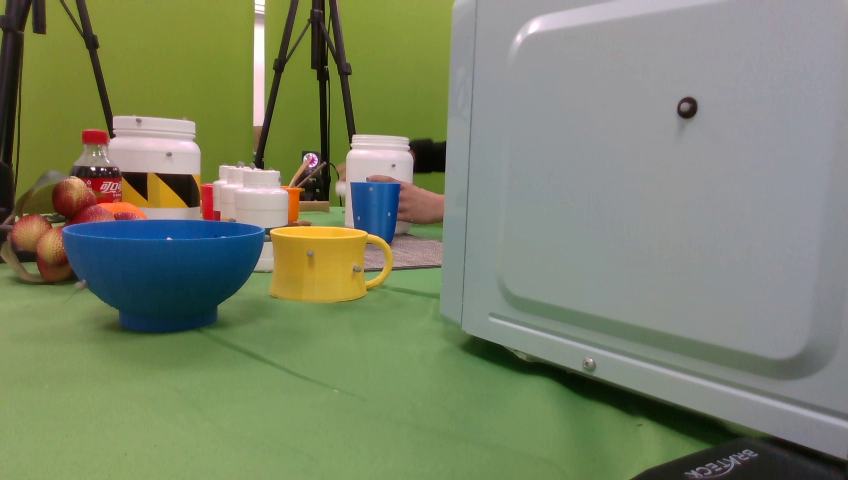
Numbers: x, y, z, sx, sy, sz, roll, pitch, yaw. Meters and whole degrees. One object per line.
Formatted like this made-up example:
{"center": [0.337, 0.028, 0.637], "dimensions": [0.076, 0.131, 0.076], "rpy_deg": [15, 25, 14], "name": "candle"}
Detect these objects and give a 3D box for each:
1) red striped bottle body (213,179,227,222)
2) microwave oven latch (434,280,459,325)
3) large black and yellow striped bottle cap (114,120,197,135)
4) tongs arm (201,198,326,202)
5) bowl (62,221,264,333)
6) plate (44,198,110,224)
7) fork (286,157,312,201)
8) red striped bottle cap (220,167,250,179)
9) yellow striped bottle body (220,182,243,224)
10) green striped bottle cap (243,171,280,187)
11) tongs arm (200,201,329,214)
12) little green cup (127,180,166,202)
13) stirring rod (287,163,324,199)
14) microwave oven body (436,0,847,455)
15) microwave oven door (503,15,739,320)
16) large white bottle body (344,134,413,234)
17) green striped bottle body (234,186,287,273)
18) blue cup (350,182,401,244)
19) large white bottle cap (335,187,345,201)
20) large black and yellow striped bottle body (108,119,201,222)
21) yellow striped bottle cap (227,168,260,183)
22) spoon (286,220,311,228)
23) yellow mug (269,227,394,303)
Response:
{"center": [-0.284, -0.048, 0.910], "dimensions": [0.063, 0.119, 0.063], "rpy_deg": [3, 12, 0], "name": "red striped bottle body"}
{"center": [0.044, 0.045, 0.470], "dimensions": [0.079, 0.029, 0.030], "rpy_deg": [-2, 8, -39], "name": "microwave oven latch"}
{"center": [-0.407, -0.171, 0.920], "dimensions": [0.115, 0.019, 0.115], "rpy_deg": [2, 9, 0], "name": "large black and yellow striped bottle cap"}
{"center": [-0.433, -0.090, 1.508], "dimensions": [0.390, 0.028, 0.028], "rpy_deg": [-1, 2, -29], "name": "tongs arm"}
{"center": [-0.209, 0.029, 0.496], "dimensions": [0.151, 0.077, 0.151], "rpy_deg": [2, 7, 0], "name": "bowl"}
{"center": [-0.617, -0.056, 1.179], "dimensions": [0.209, 0.038, 0.209], "rpy_deg": [3, 7, 0], "name": "plate"}
{"center": [-0.290, -0.116, 1.321], "dimensions": [0.028, 0.018, 0.207], "rpy_deg": [8, 52, 17], "name": "fork"}
{"center": [-0.281, -0.100, 0.901], "dimensions": [0.044, 0.017, 0.044], "rpy_deg": [-1, 5, 0], "name": "red striped bottle cap"}
{"center": [-0.246, -0.036, 0.825], "dimensions": [0.063, 0.120, 0.063], "rpy_deg": [3, 8, 0], "name": "yellow striped bottle body"}
{"center": [-0.198, -0.074, 0.736], "dimensions": [0.044, 0.020, 0.044], "rpy_deg": [1, 7, 0], "name": "green striped bottle cap"}
{"center": [-0.378, -0.079, 1.440], "dimensions": [0.387, 0.026, 0.050], "rpy_deg": [-4, 8, -44], "name": "tongs arm"}
{"center": [-0.485, -0.086, 1.061], "dimensions": [0.061, 0.038, 0.061], "rpy_deg": [1, 7, 0], "name": "little green cup"}
{"center": [-0.278, -0.105, 1.294], "dimensions": [0.176, 0.006, 0.014], "rpy_deg": [-46, 24, -18], "name": "stirring rod"}
{"center": [0.279, -0.040, 0.465], "dimensions": [0.444, 0.260, 0.324], "rpy_deg": [-3, 9, -41], "name": "microwave oven body"}
{"center": [0.218, -0.065, 0.600], "dimensions": [0.358, 0.243, 0.039], "rpy_deg": [-4, 10, -41], "name": "microwave oven door"}
{"center": [-0.087, -0.109, 1.165], "dimensions": [0.131, 0.184, 0.130], "rpy_deg": [2, 8, 0], "name": "large white bottle body"}
{"center": [-0.200, -0.023, 0.743], "dimensions": [0.063, 0.119, 0.063], "rpy_deg": [2, 7, 0], "name": "green striped bottle body"}
{"center": [-0.082, -0.046, 1.009], "dimensions": [0.093, 0.100, 0.092], "rpy_deg": [1, 6, 0], "name": "blue cup"}
{"center": [-0.140, -0.103, 1.340], "dimensions": [0.115, 0.018, 0.114], "rpy_deg": [0, 14, 0], "name": "large white bottle cap"}
{"center": [-0.412, -0.088, 0.930], "dimensions": [0.131, 0.184, 0.130], "rpy_deg": [3, 7, 0], "name": "large black and yellow striped bottle body"}
{"center": [-0.243, -0.087, 0.818], "dimensions": [0.044, 0.018, 0.044], "rpy_deg": [3, 6, 0], "name": "yellow striped bottle cap"}
{"center": [-0.232, -0.027, 1.116], "dimensions": [0.041, 0.021, 0.193], "rpy_deg": [-22, 6, 4], "name": "spoon"}
{"center": [-0.094, 0.023, 0.629], "dimensions": [0.131, 0.064, 0.099], "rpy_deg": [0, 7, -22], "name": "yellow mug"}
